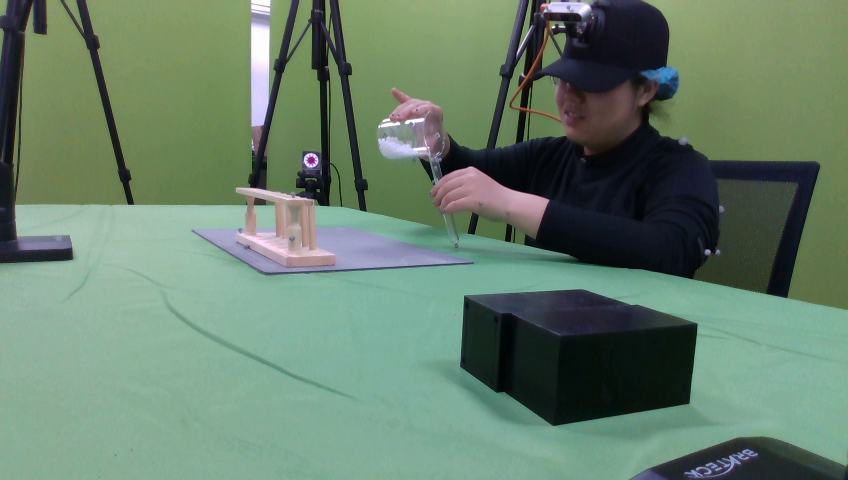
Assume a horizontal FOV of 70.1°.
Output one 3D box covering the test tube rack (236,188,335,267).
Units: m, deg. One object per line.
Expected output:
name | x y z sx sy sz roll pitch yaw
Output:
test tube rack | -0.202 -0.024 0.855 0.067 0.085 0.241 -2 8 -31

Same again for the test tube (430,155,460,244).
test tube | 0.035 -0.067 0.992 0.017 0.150 0.017 -14 -6 -1

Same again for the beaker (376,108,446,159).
beaker | -0.024 -0.174 1.025 0.100 0.084 0.074 -2 -3 31
